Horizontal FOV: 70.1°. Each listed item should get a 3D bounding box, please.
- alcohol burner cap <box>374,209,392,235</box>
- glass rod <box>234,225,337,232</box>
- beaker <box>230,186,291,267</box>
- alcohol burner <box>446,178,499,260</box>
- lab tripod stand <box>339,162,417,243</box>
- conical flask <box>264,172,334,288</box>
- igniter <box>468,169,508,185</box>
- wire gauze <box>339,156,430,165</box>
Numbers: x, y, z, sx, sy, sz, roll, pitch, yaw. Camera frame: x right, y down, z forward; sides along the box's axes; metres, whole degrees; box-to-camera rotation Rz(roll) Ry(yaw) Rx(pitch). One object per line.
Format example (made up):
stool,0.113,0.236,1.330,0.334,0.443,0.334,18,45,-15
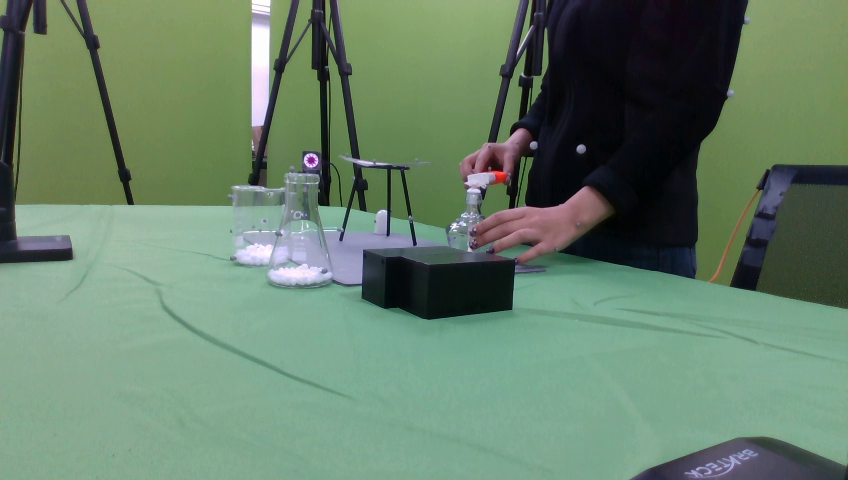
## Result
alcohol burner cap,-0.078,-0.036,1.148,0.034,0.048,0.034,3,7,0
glass rod,-0.256,-0.022,1.136,0.201,0.008,0.008,-3,8,-33
beaker,-0.209,-0.019,0.778,0.074,0.100,0.084,3,6,4
alcohol burner,0.071,-0.030,0.875,0.078,0.119,0.078,4,6,0
lab tripod stand,-0.067,-0.065,1.027,0.148,0.131,0.148,4,7,0
conical flask,-0.136,-0.013,0.660,0.075,0.122,0.075,2,7,0
igniter,0.111,-0.107,1.019,0.057,0.025,0.277,-6,5,13
wire gauze,-0.067,-0.132,1.022,0.122,0.011,0.124,-1,9,-31
